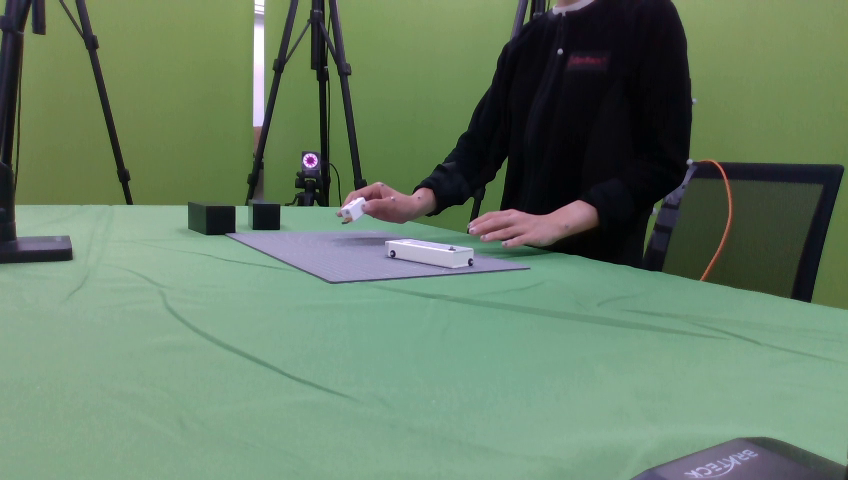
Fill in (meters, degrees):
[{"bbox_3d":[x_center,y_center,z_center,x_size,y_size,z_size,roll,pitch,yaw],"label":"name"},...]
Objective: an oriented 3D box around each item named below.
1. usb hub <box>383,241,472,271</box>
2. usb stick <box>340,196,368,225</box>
[{"bbox_3d":[0.003,0.020,0.842,0.124,0.025,0.050,8,9,39],"label":"usb hub"},{"bbox_3d":[-0.120,-0.047,0.999,0.021,0.027,0.059,-5,30,36],"label":"usb stick"}]
